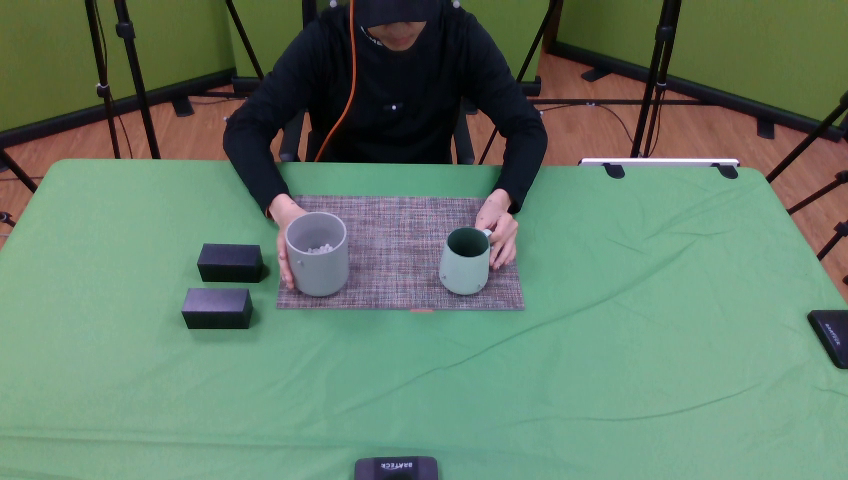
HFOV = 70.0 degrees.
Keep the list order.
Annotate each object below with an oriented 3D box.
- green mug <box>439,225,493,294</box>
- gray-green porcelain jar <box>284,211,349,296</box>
[{"bbox_3d":[0.086,0.028,1.113,0.092,0.105,0.125,31,52,24],"label":"green mug"},{"bbox_3d":[-0.188,0.029,1.077,0.106,0.127,0.105,2,47,-2],"label":"gray-green porcelain jar"}]
